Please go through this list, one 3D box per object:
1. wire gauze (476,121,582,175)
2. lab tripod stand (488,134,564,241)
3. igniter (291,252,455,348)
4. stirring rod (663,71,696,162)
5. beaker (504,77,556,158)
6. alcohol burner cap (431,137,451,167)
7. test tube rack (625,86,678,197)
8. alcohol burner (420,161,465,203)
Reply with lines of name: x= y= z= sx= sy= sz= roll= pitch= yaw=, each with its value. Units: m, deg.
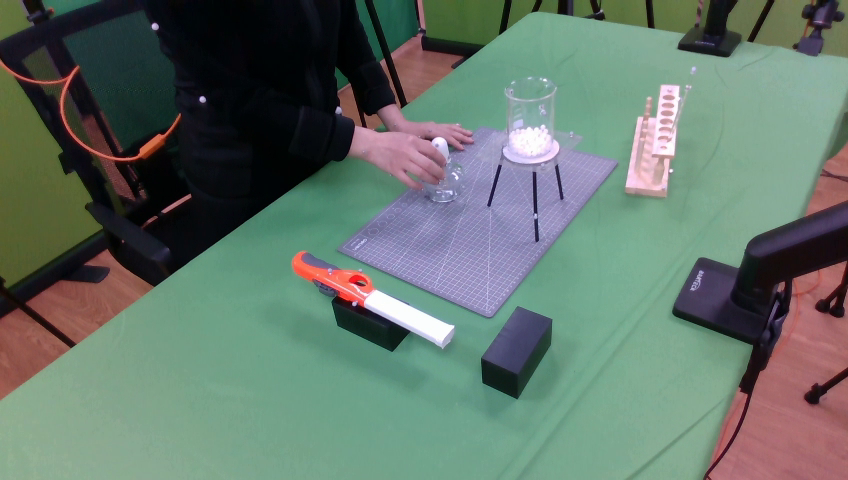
wire gauze: x=0.162 y=-0.142 z=0.929 sx=0.120 sy=0.011 sz=0.125 roll=19 pitch=49 yaw=32
lab tripod stand: x=0.168 y=-0.092 z=0.972 sx=0.148 sy=0.132 sz=0.147 roll=-5 pitch=41 yaw=5
igniter: x=-0.080 y=0.076 z=0.822 sx=0.274 sy=0.025 sz=0.057 roll=23 pitch=46 yaw=27
stirring rod: x=0.410 y=-0.195 z=0.981 sx=0.014 sy=0.177 sz=0.006 roll=11 pitch=50 yaw=13
beaker: x=0.160 y=-0.181 z=0.900 sx=0.084 sy=0.101 sz=0.073 roll=-33 pitch=46 yaw=-27
alcohol burner cap: x=0.027 y=-0.151 z=1.021 sx=0.034 sy=0.048 sz=0.033 roll=-6 pitch=42 yaw=6
test tube rack: x=0.412 y=-0.184 z=1.088 sx=0.066 sy=0.085 sz=0.242 roll=9 pitch=43 yaw=18
alcohol burner: x=0.030 y=-0.124 z=1.044 sx=0.078 sy=0.119 sz=0.077 roll=-5 pitch=42 yaw=5
